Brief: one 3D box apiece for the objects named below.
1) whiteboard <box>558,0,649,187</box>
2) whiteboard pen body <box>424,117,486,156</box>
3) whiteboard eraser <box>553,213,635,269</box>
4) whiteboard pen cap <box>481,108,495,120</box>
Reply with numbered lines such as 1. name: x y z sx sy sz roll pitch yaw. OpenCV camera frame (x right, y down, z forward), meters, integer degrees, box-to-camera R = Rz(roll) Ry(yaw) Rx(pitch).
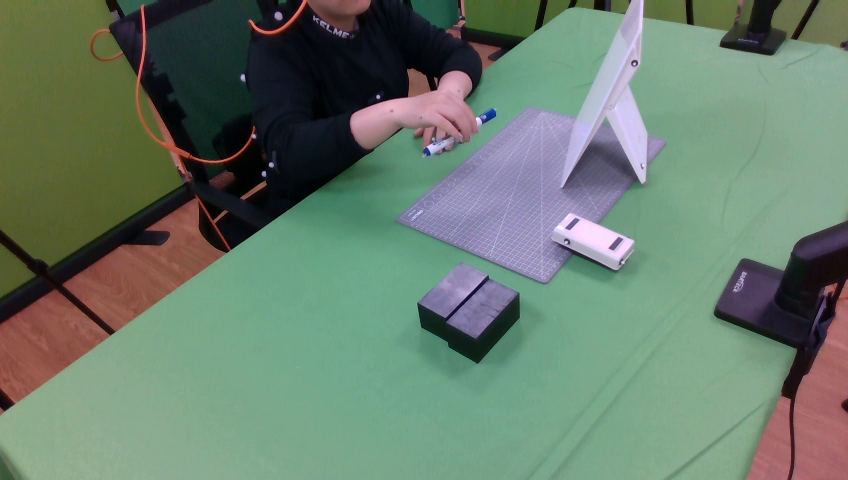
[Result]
1. whiteboard: 0.361 -0.238 1.026 0.144 0.306 0.217 21 44 3
2. whiteboard pen body: 0.060 -0.179 1.010 0.141 0.017 0.017 -32 45 -17
3. whiteboard eraser: 0.257 0.003 0.918 0.112 0.042 0.056 27 49 30
4. whiteboard pen cap: 0.109 -0.214 1.027 0.018 0.018 0.033 11 24 21
